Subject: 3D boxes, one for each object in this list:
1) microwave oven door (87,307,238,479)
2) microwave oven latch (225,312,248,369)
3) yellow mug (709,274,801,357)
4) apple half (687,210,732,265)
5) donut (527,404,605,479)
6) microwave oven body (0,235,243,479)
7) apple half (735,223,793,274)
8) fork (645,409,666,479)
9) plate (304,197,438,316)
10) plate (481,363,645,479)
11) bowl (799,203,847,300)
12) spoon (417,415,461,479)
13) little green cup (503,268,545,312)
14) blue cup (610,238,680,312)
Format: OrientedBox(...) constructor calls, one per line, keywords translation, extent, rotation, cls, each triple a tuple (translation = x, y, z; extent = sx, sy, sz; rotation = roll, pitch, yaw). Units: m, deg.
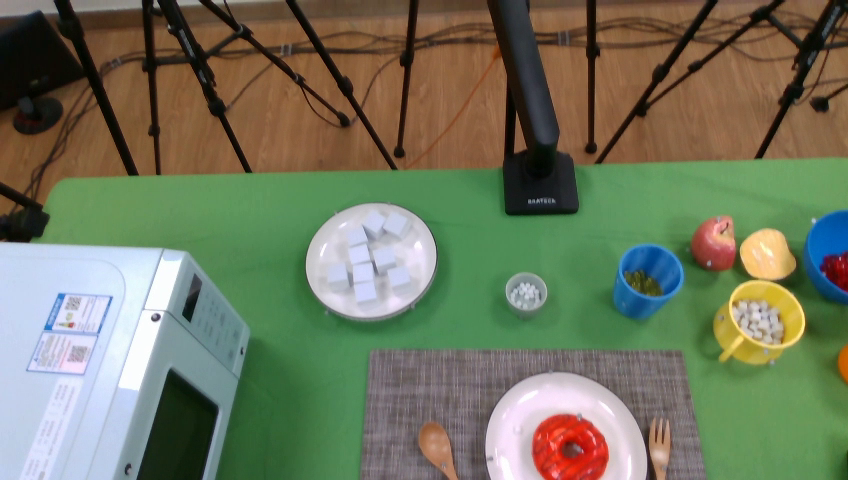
OrientedBox(translation=(-0.304, 0.283, 0.682), extent=(0.039, 0.246, 0.353), rotation=(2, 60, 6), cls="microwave oven door")
OrientedBox(translation=(-0.277, 0.144, 0.877), extent=(0.030, 0.030, 0.078), rotation=(4, 61, 6), cls="microwave oven latch")
OrientedBox(translation=(0.451, 0.115, 0.847), extent=(0.131, 0.064, 0.099), rotation=(-38, 65, -15), cls="yellow mug")
OrientedBox(translation=(0.426, -0.003, 0.913), extent=(0.053, 0.075, 0.080), rotation=(2, 64, 11), cls="apple half")
OrientedBox(translation=(0.182, 0.261, 0.781), extent=(0.099, 0.048, 0.098), rotation=(-3, 60, 5), cls="donut")
OrientedBox(translation=(-0.445, 0.244, 0.720), extent=(0.326, 0.262, 0.438), rotation=(2, 61, 5), cls="microwave oven body")
OrientedBox(translation=(0.509, 0.017, 0.918), extent=(0.081, 0.033, 0.081), rotation=(-3, 74, 11), cls="apple half")
OrientedBox(translation=(0.293, 0.317, 0.765), extent=(0.028, 0.019, 0.206), rotation=(12, 60, 2), cls="fork")
OrientedBox(translation=(-0.081, 0.027, 0.952), extent=(0.207, 0.039, 0.206), rotation=(-2, 60, 3), cls="plate")
OrientedBox(translation=(0.178, 0.267, 0.792), extent=(0.209, 0.038, 0.207), rotation=(-2, 60, 3), cls="plate")
OrientedBox(translation=(0.612, 0.030, 0.877), extent=(0.151, 0.077, 0.150), rotation=(-2, 61, 4), cls="bowl")
OrientedBox(translation=(0.044, 0.315, 0.782), extent=(0.042, 0.022, 0.192), rotation=(-16, 58, -28), cls="spoon")
OrientedBox(translation=(0.149, 0.077, 0.907), extent=(0.061, 0.039, 0.061), rotation=(-2, 59, 3), cls="little green cup")
OrientedBox(translation=(0.309, 0.058, 0.870), extent=(0.092, 0.101, 0.092), rotation=(-1, 62, 3), cls="blue cup")
